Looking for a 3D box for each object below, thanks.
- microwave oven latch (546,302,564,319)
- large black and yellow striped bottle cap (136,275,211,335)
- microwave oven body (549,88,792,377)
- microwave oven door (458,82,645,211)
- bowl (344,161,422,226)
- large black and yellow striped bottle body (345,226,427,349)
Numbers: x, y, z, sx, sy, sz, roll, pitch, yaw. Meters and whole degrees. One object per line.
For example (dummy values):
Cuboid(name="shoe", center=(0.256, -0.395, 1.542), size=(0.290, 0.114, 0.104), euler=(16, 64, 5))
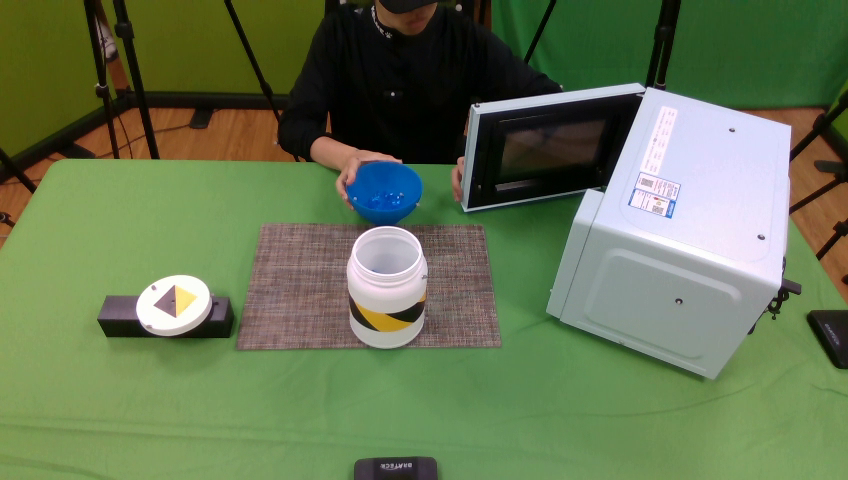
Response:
Cuboid(name="microwave oven latch", center=(0.242, 0.102, 1.081), size=(0.030, 0.029, 0.079), euler=(21, 48, 17))
Cuboid(name="large black and yellow striped bottle cap", center=(-0.412, 0.105, 0.999), size=(0.115, 0.019, 0.114), euler=(3, 46, -3))
Cuboid(name="microwave oven body", center=(0.456, -0.028, 1.088), size=(0.325, 0.261, 0.440), euler=(20, 47, 16))
Cuboid(name="microwave oven door", center=(0.252, -0.186, 1.218), size=(0.356, 0.245, 0.039), euler=(-10, 48, -14))
Cuboid(name="bowl", center=(-0.079, -0.080, 1.200), size=(0.151, 0.077, 0.150), euler=(1, 45, -1))
Cuboid(name="large black and yellow striped bottle body", center=(-0.062, 0.078, 0.998), size=(0.131, 0.185, 0.130), euler=(2, 46, -2))
